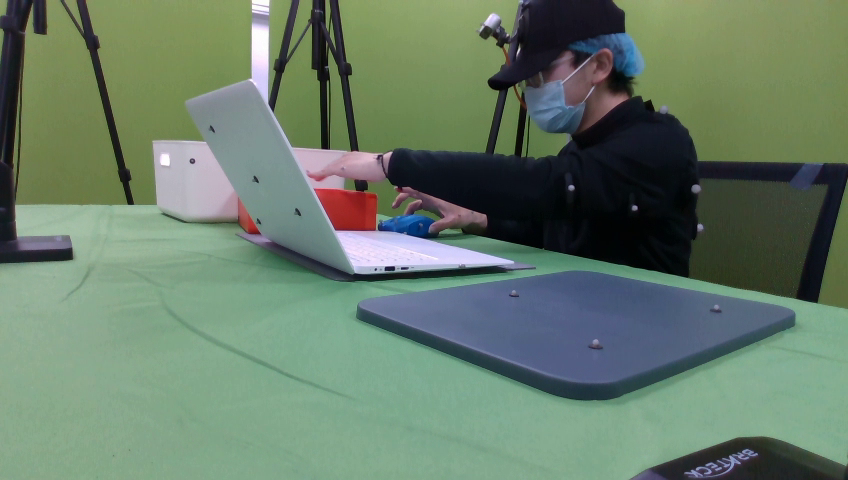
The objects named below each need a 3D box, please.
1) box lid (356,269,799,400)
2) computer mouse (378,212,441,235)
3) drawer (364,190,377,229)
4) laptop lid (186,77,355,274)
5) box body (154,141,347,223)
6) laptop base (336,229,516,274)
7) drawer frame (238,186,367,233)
[{"bbox_3d":[0.152,0.068,0.564,0.374,0.015,0.262,-4,10,-41],"label":"box lid"},{"bbox_3d":[-0.027,-0.030,1.141,0.118,0.041,0.062,-4,14,-34],"label":"computer mouse"},{"bbox_3d":[-0.215,-0.062,1.166,0.213,0.073,0.193,-1,7,-21],"label":"drawer"},{"bbox_3d":[-0.211,-0.081,0.772,0.013,0.242,0.355,-35,25,-23],"label":"laptop lid"},{"bbox_3d":[-0.384,-0.132,1.346,0.366,0.160,0.253,-3,9,-36],"label":"box body"},{"bbox_3d":[-0.065,0.014,0.877,0.237,0.023,0.352,2,7,-32],"label":"laptop base"},{"bbox_3d":[-0.237,-0.063,1.157,0.214,0.082,0.201,-2,8,-23],"label":"drawer frame"}]
